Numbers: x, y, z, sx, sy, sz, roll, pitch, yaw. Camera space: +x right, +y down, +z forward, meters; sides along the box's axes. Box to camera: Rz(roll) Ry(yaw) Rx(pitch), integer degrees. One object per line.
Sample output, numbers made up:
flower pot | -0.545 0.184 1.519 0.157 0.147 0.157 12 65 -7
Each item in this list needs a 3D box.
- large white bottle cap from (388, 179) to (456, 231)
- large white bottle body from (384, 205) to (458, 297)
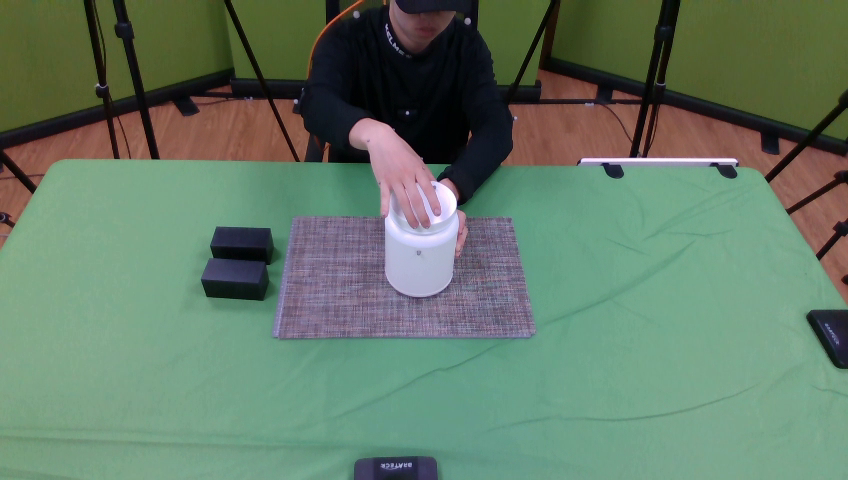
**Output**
large white bottle cap | -0.003 -0.060 1.020 0.115 0.018 0.114 2 46 -1
large white bottle body | -0.007 -0.002 1.081 0.131 0.185 0.130 2 46 -2
